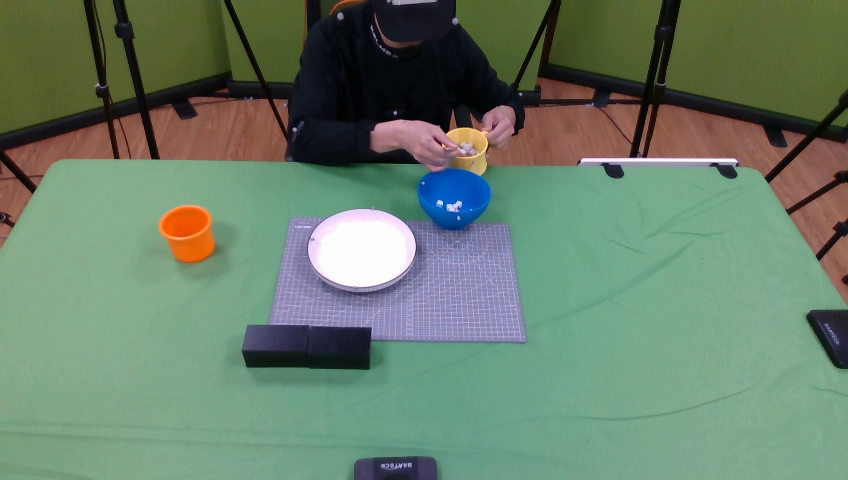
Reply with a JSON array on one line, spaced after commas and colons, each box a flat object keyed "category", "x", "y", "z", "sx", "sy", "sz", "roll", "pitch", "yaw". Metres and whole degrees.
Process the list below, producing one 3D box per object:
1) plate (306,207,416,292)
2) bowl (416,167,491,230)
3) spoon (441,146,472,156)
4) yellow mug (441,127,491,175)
[{"category": "plate", "x": -0.119, "y": 0.021, "z": 1.153, "sx": 0.209, "sy": 0.038, "sz": 0.208, "roll": 2, "pitch": 46, "yaw": -2}, {"category": "bowl", "x": 0.057, "y": -0.074, "z": 1.231, "sx": 0.151, "sy": 0.077, "sz": 0.150, "roll": 2, "pitch": 42, "yaw": -2}, {"category": "spoon", "x": 0.064, "y": -0.182, "z": 1.248, "sx": 0.041, "sy": 0.021, "sz": 0.194, "roll": 13, "pitch": 4, "yaw": 17}, {"category": "yellow mug", "x": 0.099, "y": -0.197, "z": 1.321, "sx": 0.131, "sy": 0.064, "sz": 0.099, "roll": -36, "pitch": 57, "yaw": -26}]
